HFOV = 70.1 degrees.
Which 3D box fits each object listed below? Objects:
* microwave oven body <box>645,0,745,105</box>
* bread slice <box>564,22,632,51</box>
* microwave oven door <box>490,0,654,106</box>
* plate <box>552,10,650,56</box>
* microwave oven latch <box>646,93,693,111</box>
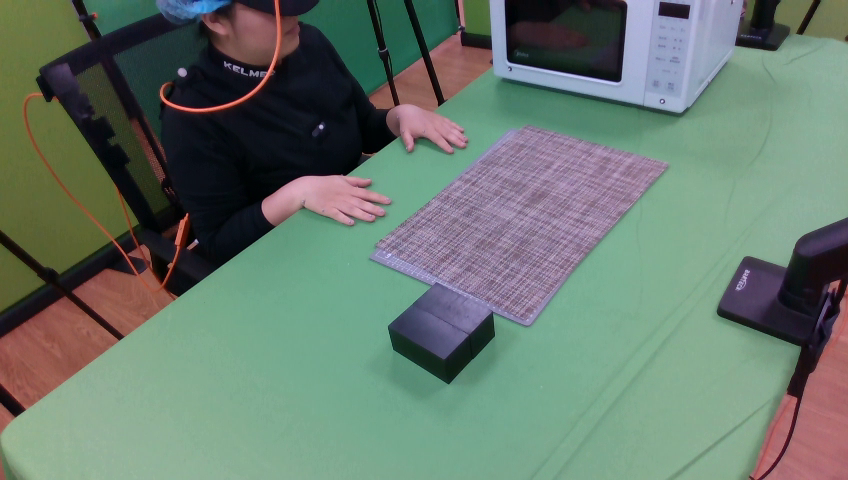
[{"bbox_3d":[0.416,-0.486,1.290,0.438,0.261,0.327,21,50,33],"label":"microwave oven body"},{"bbox_3d":[0.394,-0.454,1.344,0.105,0.019,0.130,-36,43,-26],"label":"bread slice"},{"bbox_3d":[0.292,-0.420,1.228,0.353,0.245,0.039,22,49,32],"label":"microwave oven door"},{"bbox_3d":[0.390,-0.455,1.339,0.209,0.038,0.208,-5,39,5],"label":"plate"},{"bbox_3d":[0.477,-0.273,1.177,0.078,0.029,0.030,22,50,33],"label":"microwave oven latch"}]
